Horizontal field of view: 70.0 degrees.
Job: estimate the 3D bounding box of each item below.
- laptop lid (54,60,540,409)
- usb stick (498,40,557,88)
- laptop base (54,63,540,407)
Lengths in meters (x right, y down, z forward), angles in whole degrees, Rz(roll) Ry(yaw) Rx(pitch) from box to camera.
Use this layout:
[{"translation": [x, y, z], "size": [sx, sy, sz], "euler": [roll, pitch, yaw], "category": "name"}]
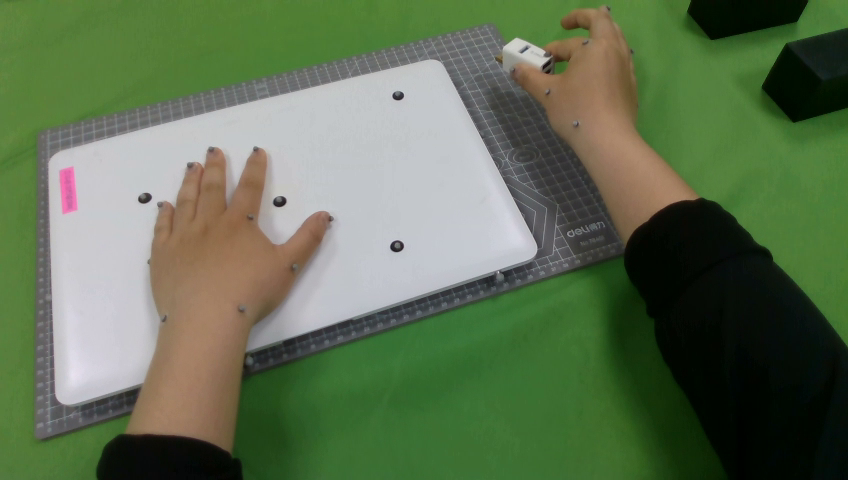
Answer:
[{"translation": [-0.112, -0.028, 0.486], "size": [0.357, 0.013, 0.239], "euler": [-16, 60, -8], "category": "laptop lid"}, {"translation": [0.090, -0.160, 0.543], "size": [0.021, 0.027, 0.058], "euler": [-40, 51, -19], "category": "usb stick"}, {"translation": [-0.112, -0.025, 0.495], "size": [0.355, 0.023, 0.233], "euler": [-17, 61, -9], "category": "laptop base"}]
